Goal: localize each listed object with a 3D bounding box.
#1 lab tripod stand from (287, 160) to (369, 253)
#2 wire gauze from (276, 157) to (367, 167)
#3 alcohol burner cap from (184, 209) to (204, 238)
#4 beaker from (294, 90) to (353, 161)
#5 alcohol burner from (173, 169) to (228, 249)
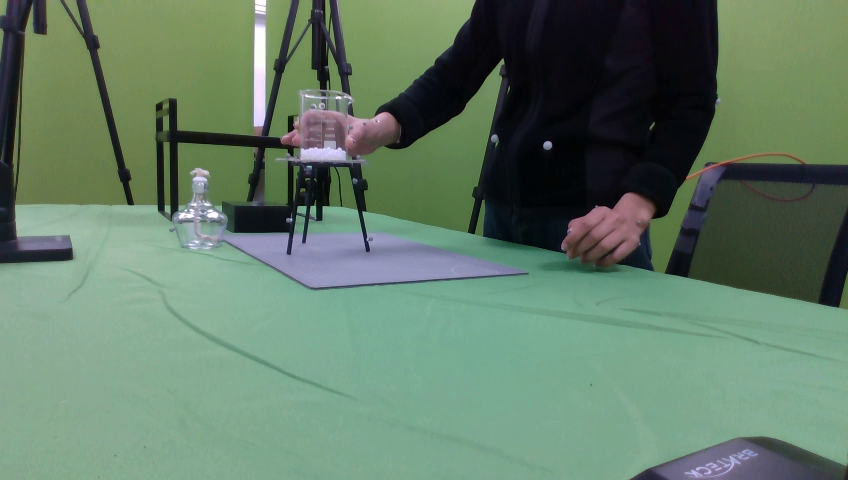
[{"bbox_3d":[-0.157,-0.053,0.901,0.148,0.131,0.148,0,7,0],"label":"lab tripod stand"},{"bbox_3d":[-0.147,-0.117,0.895,0.121,0.011,0.125,3,5,-3],"label":"wire gauze"},{"bbox_3d":[-0.390,-0.029,1.026,0.034,0.048,0.034,2,9,0],"label":"alcohol burner cap"},{"bbox_3d":[-0.147,-0.164,0.884,0.084,0.100,0.074,1,7,-6],"label":"beaker"},{"bbox_3d":[-0.333,-0.047,0.903,0.078,0.119,0.078,1,6,0],"label":"alcohol burner"}]
